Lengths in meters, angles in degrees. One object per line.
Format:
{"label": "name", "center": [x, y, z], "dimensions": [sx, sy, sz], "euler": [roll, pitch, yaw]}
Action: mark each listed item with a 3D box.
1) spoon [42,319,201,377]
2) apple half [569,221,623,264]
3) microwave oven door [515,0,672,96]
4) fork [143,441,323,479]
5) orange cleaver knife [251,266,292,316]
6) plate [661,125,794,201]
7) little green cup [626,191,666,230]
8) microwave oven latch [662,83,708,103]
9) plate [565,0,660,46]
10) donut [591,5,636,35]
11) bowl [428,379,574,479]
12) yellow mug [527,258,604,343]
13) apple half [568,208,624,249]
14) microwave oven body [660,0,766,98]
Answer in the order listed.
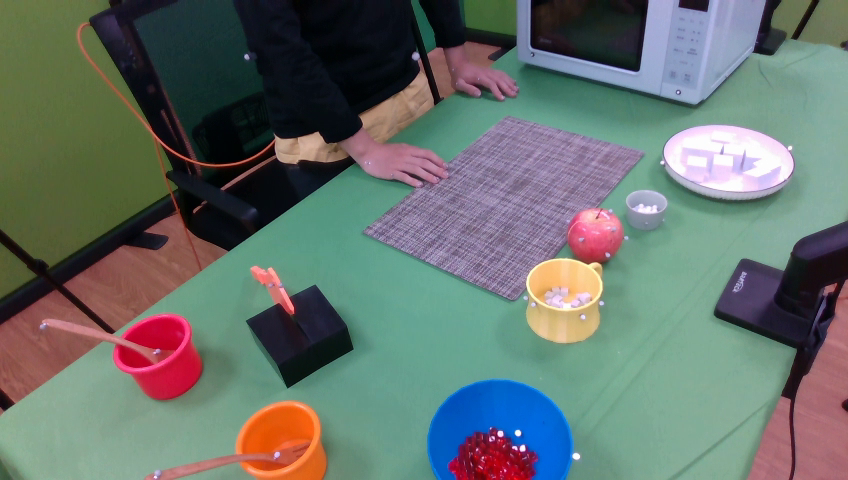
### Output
{"label": "spoon", "center": [-0.385, 0.135, 0.779], "dimensions": [0.195, 0.021, 0.041], "euler": [29, 37, -26]}
{"label": "apple half", "center": [0.251, 0.010, 0.884], "dimensions": [0.081, 0.081, 0.032], "euler": [3, 37, 12]}
{"label": "microwave oven door", "center": [0.343, -0.454, 1.259], "dimensions": [0.353, 0.245, 0.039], "euler": [26, 51, 33]}
{"label": "fork", "center": [-0.189, 0.231, 0.631], "dimensions": [0.028, 0.018, 0.209], "euler": [35, 13, 37]}
{"label": "orange cleaver knife", "center": [-0.221, 0.071, 0.873], "dimensions": [0.012, 0.077, 0.210], "euler": [-25, 11, -21]}
{"label": "plate", "center": [0.513, -0.128, 1.035], "dimensions": [0.207, 0.039, 0.206], "euler": [-4, 40, 4]}
{"label": "little green cup", "center": [0.352, -0.046, 0.963], "dimensions": [0.061, 0.039, 0.061], "euler": [-4, 40, 4]}
{"label": "microwave oven latch", "center": [0.517, -0.296, 1.204], "dimensions": [0.078, 0.029, 0.030], "euler": [27, 52, 35]}
{"label": "plate", "center": [0.427, -0.490, 1.376], "dimensions": [0.209, 0.038, 0.208], "euler": [-5, 41, 5]}
{"label": "donut", "center": [0.427, -0.498, 1.365], "dimensions": [0.099, 0.048, 0.098], "euler": [-4, 39, 4]}
{"label": "bowl", "center": [0.082, 0.233, 0.644], "dimensions": [0.151, 0.077, 0.150], "euler": [-4, 40, 4]}
{"label": "yellow mug", "center": [0.201, 0.073, 0.825], "dimensions": [0.131, 0.064, 0.099], "euler": [-32, 46, -27]}
{"label": "apple half", "center": [0.259, -0.014, 0.914], "dimensions": [0.080, 0.075, 0.053], "euler": [0, 36, 15]}
{"label": "microwave oven body", "center": [0.472, -0.513, 1.317], "dimensions": [0.438, 0.261, 0.327], "euler": [26, 51, 34]}
